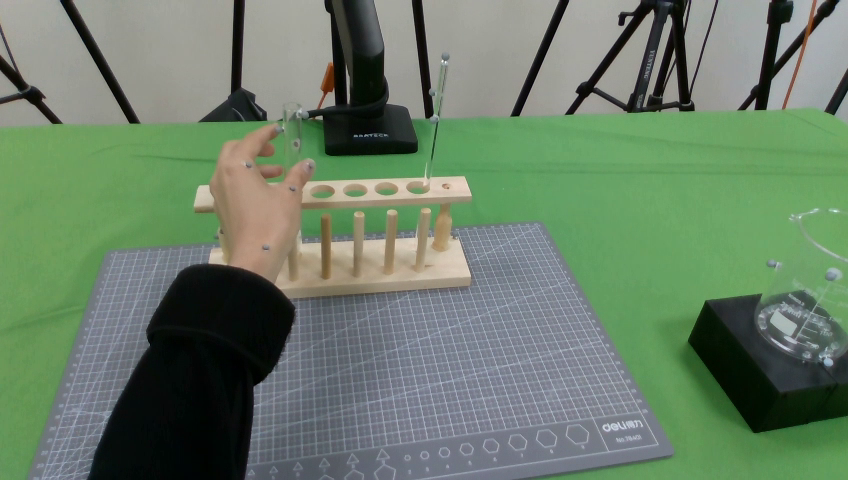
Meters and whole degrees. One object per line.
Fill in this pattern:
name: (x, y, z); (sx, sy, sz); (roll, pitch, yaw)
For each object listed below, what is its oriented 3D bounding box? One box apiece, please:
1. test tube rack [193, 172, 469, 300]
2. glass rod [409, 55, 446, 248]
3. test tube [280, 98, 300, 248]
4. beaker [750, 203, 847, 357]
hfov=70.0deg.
test tube rack: (-0.080, -0.005, 0.560); (0.243, 0.086, 0.066); (-3, 39, -10)
glass rod: (0.000, -0.069, 0.540); (0.008, 0.201, 0.008); (6, 40, -5)
test tube: (-0.118, -0.053, 0.537); (0.017, 0.151, 0.017); (6, 36, -4)
beaker: (0.299, 0.032, 0.461); (0.074, 0.101, 0.083); (-26, 46, -33)
